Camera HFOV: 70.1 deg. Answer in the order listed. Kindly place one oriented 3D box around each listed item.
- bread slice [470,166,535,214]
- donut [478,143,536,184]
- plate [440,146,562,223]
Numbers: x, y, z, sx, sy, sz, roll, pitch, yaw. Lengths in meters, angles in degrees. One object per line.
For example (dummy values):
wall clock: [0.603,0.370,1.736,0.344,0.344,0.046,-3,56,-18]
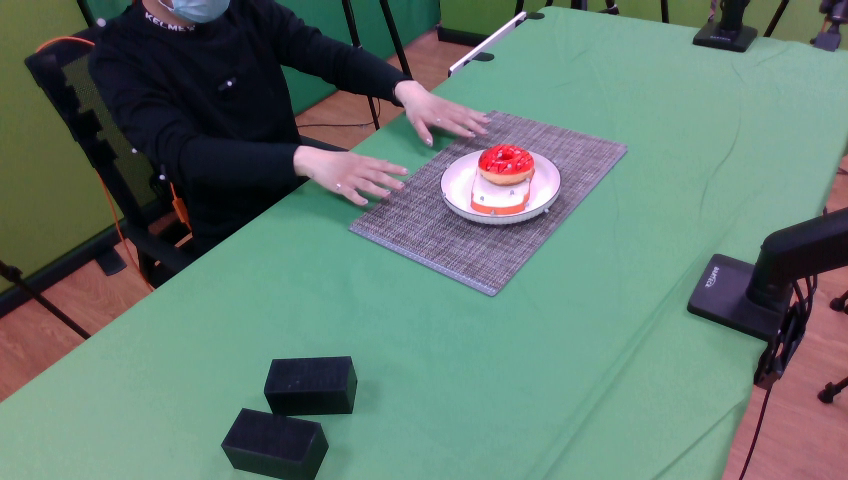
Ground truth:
bread slice: [0.134,-0.089,1.039,0.104,0.019,0.131,4,40,12]
donut: [0.142,-0.132,1.040,0.099,0.048,0.098,-3,37,3]
plate: [0.131,-0.093,1.040,0.207,0.039,0.206,-4,41,4]
